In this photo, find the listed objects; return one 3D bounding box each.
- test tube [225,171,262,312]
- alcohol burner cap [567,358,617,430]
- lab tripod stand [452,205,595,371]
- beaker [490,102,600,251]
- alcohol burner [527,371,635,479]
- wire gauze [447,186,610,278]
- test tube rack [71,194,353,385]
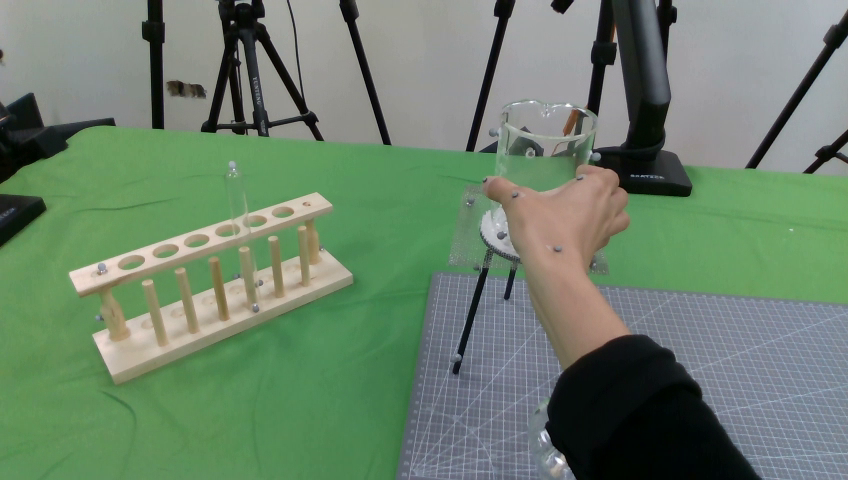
[{"bbox_3d":[-0.167,0.005,0.561,0.017,0.151,0.017,2,33,-1],"label":"test tube"},{"bbox_3d":[0.116,0.102,0.412,0.034,0.048,0.033,0,33,0],"label":"alcohol burner cap"},{"bbox_3d":[0.093,0.047,0.540,0.148,0.132,0.147,2,33,-1],"label":"lab tripod stand"},{"bbox_3d":[0.091,-0.050,0.476,0.074,0.101,0.083,6,34,5],"label":"beaker"},{"bbox_3d":[0.114,0.132,0.432,0.078,0.120,0.077,2,36,-1],"label":"alcohol burner"},{"bbox_3d":[0.086,-0.008,0.501,0.121,0.011,0.124,6,35,6],"label":"wire gauze"},{"bbox_3d":[-0.192,0.039,0.589,0.243,0.086,0.066,-22,41,-31],"label":"test tube rack"}]
